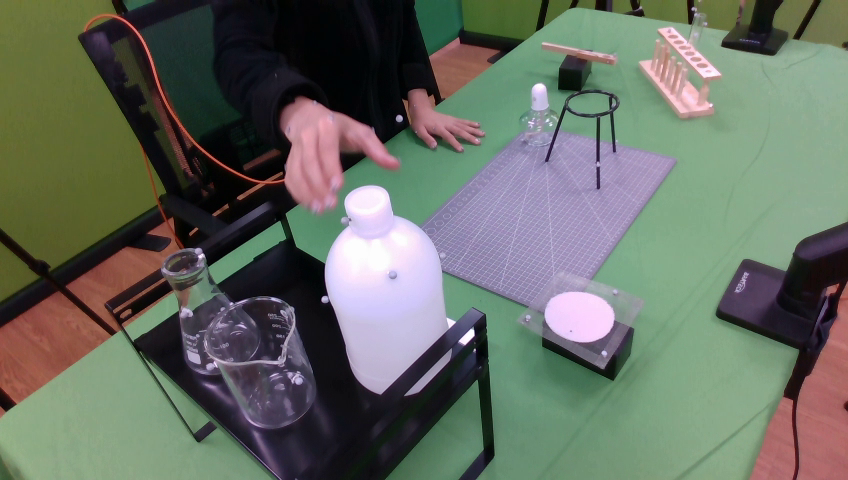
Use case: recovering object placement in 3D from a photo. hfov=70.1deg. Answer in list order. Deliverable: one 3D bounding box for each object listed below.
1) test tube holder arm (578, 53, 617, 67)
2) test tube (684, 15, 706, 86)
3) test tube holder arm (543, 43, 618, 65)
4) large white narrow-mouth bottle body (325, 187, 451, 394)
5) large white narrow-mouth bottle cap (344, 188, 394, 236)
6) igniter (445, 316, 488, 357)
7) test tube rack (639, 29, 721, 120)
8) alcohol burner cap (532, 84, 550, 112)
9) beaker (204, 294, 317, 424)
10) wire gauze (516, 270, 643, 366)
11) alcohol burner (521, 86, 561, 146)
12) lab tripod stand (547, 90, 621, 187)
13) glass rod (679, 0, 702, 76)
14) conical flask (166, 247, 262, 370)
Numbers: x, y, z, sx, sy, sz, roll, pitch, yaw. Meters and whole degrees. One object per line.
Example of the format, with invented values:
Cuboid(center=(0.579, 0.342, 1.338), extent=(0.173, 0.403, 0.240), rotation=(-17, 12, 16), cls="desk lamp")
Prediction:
Cuboid(center=(0.376, -0.393, 1.314), extent=(0.087, 0.015, 0.010), rotation=(26, 50, 32), cls="test tube holder arm")
Cuboid(center=(0.540, -0.378, 1.215), extent=(0.017, 0.151, 0.017), rotation=(-2, 44, 3), cls="test tube")
Cuboid(center=(0.345, -0.413, 1.341), extent=(0.177, 0.015, 0.013), rotation=(25, 50, 31), cls="test tube holder arm")
Cuboid(center=(-0.033, 0.040, 0.527), extent=(0.102, 0.195, 0.101), rotation=(-5, 40, 4), cls="large white narrow-mouth bottle body")
Cuboid(center=(-0.042, -0.022, 0.471), extent=(0.038, 0.024, 0.037), rotation=(-4, 40, 4), cls="large white narrow-mouth bottle cap")
Cuboid(center=(-0.030, 0.095, 0.872), extent=(0.274, 0.025, 0.057), rotation=(23, 60, 31), cls="igniter")
Cuboid(center=(0.527, -0.351, 1.262), extent=(0.067, 0.085, 0.241), rotation=(-8, 40, 1), cls="test tube rack")
Cuboid(center=(0.218, -0.268, 1.133), extent=(0.034, 0.048, 0.033), rotation=(-8, 36, 7), cls="alcohol burner cap")
Cuboid(center=(-0.137, 0.110, 0.536), extent=(0.083, 0.101, 0.074), rotation=(30, 53, 36), cls="beaker")
Cuboid(center=(0.200, 0.093, 0.777), extent=(0.124, 0.011, 0.122), rotation=(23, 49, 32), cls="wire gauze")
Cuboid(center=(0.223, -0.241, 1.155), extent=(0.078, 0.119, 0.077), rotation=(-5, 43, 5), cls="alcohol burner")
Cuboid(center=(0.289, -0.184, 1.062), extent=(0.148, 0.132, 0.147), rotation=(-6, 41, 6), cls="lab tripod stand")
Cuboid(center=(0.543, -0.417, 1.233), extent=(0.008, 0.200, 0.008), rotation=(1, 40, 0), cls="glass rod")
Cuboid(center=(-0.209, 0.063, 0.584), extent=(0.075, 0.122, 0.075), rotation=(-4, 40, 4), cls="conical flask")
